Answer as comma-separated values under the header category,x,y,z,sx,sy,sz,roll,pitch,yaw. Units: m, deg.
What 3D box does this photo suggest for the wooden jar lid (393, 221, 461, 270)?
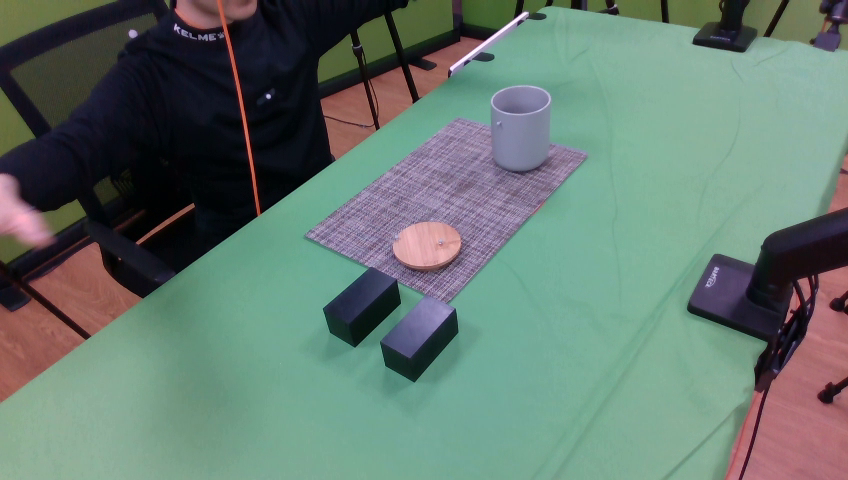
category,x,y,z,sx,sy,sz,roll,pitch,yaw
wooden jar lid,0.005,0.010,0.952,0.108,0.021,0.108,-4,40,4

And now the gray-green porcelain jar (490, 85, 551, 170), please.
category,x,y,z,sx,sy,sz,roll,pitch,yaw
gray-green porcelain jar,0.173,-0.198,1.087,0.106,0.127,0.105,-4,41,4
